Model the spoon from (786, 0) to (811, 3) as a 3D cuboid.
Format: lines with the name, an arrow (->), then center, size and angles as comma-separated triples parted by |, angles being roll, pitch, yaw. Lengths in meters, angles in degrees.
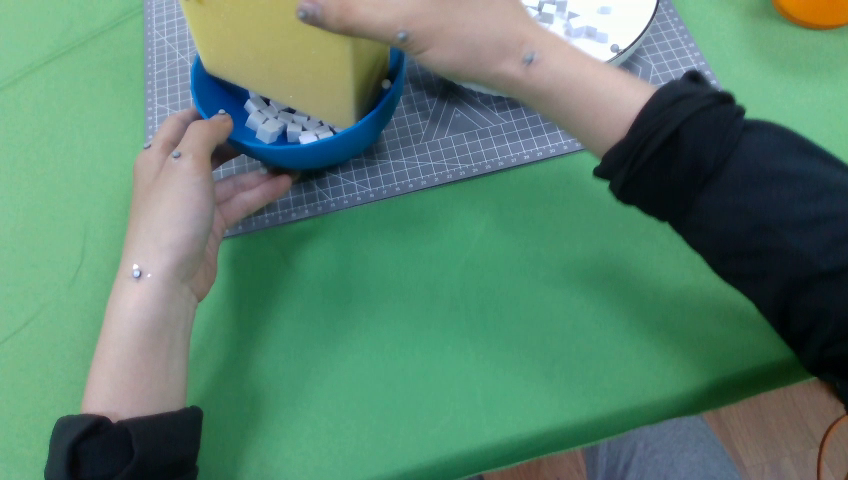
spoon -> 0.351, -0.245, 0.435 | 0.022, 0.194, 0.041 | 3, 58, -43

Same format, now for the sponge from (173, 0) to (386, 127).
sponge -> -0.084, -0.162, 0.346 | 0.118, 0.208, 0.060 | 19, 65, 3

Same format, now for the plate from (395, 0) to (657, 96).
plate -> 0.081, -0.198, 0.498 | 0.209, 0.038, 0.207 | -2, 64, 5

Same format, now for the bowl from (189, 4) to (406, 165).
bowl -> -0.084, -0.109, 0.449 | 0.151, 0.077, 0.150 | -2, 64, 5
